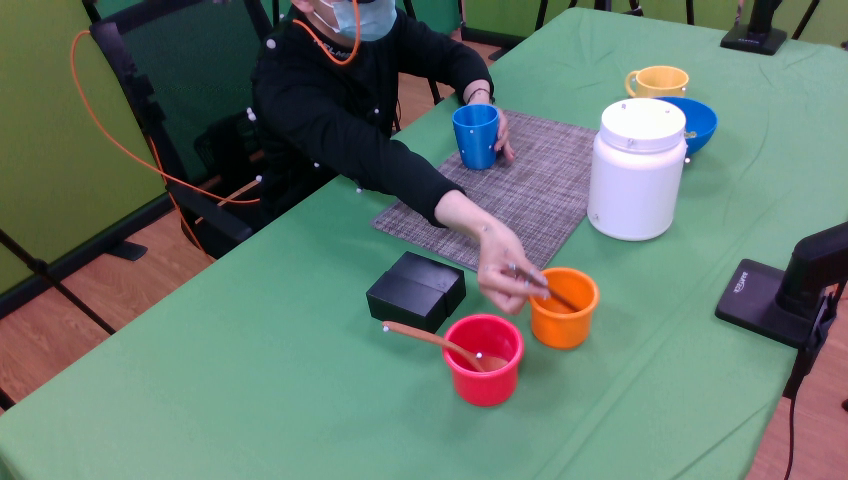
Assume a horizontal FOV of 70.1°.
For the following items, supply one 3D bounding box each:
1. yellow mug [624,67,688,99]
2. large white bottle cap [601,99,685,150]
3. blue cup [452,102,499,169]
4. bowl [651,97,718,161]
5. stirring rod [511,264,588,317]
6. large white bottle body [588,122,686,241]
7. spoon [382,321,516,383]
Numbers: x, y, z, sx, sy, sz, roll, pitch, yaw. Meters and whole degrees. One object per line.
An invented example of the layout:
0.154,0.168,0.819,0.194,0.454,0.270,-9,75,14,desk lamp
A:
0.464,-0.305,1.230,0.100,0.064,0.129,-34,46,-27,yellow mug
0.315,-0.168,0.870,0.115,0.018,0.114,-4,41,4,large white bottle cap
0.099,-0.187,1.114,0.092,0.100,0.092,-5,40,5,blue cup
0.439,-0.187,1.087,0.151,0.077,0.150,-4,41,4,bowl
0.160,0.066,0.753,0.014,0.178,0.006,2,67,44,stirring rod
0.324,-0.105,0.926,0.130,0.185,0.130,-4,41,4,large white bottle body
0.033,0.131,0.726,0.195,0.021,0.041,29,30,-26,spoon
